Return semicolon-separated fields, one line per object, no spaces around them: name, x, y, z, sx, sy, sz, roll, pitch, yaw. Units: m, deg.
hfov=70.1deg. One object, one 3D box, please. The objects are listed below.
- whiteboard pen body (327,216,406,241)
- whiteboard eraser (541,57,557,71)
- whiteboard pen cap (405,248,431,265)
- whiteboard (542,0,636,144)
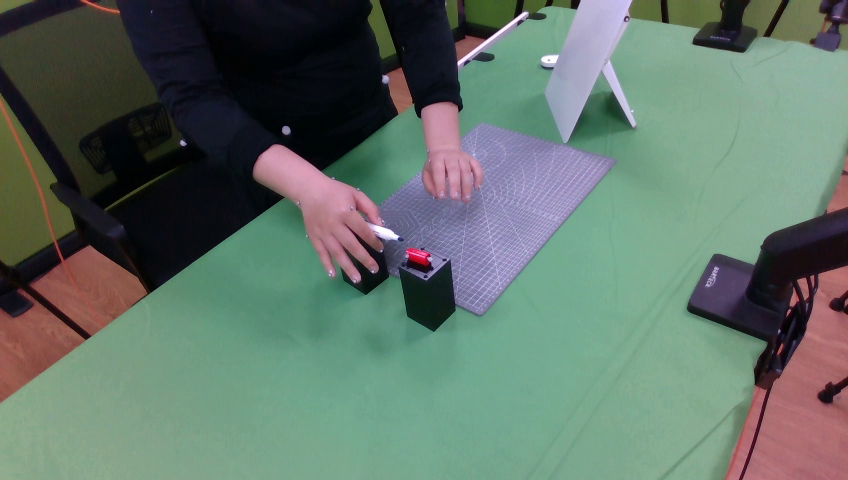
whiteboard pen body;-0.081;-0.015;0.840;0.139;0.017;0.017;14;44;34
whiteboard eraser;0.323;-0.412;1.407;0.101;0.019;0.041;1;41;11
whiteboard pen cap;-0.008;0.021;0.794;0.032;0.017;0.017;17;46;28
whiteboard;0.366;-0.351;1.160;0.144;0.305;0.216;10;39;-10
